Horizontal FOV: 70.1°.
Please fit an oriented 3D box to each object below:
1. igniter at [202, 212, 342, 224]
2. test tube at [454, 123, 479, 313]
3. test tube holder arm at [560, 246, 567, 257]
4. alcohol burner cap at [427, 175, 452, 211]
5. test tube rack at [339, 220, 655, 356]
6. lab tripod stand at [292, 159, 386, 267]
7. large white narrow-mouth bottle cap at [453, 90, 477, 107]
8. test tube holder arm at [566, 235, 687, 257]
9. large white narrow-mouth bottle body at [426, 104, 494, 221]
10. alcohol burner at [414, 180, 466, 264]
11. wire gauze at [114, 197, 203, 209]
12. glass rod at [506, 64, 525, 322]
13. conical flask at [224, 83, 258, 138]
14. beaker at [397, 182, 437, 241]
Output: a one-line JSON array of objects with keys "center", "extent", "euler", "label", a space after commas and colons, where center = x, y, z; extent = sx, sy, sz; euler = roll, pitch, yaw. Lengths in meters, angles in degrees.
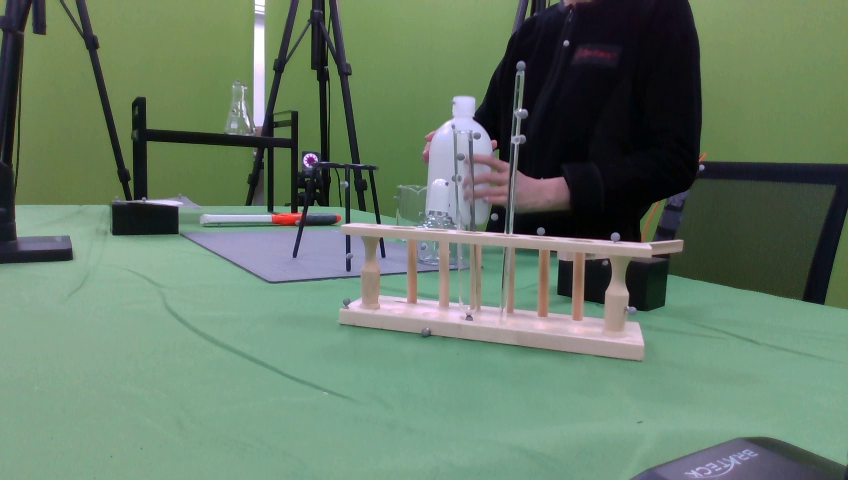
[{"center": [-0.298, -0.044, 1.216], "extent": [0.278, 0.025, 0.057], "euler": [-2, -2, -33], "label": "igniter"}, {"center": [0.034, -0.016, 0.477], "extent": [0.017, 0.150, 0.017], "euler": [-2, 9, 1], "label": "test tube"}, {"center": [0.173, 0.007, 0.611], "extent": [0.088, 0.015, 0.010], "euler": [-3, 9, -30], "label": "test tube holder arm"}, {"center": [0.023, -0.064, 0.822], "extent": [0.034, 0.048, 0.034], "euler": [7, 4, 0], "label": "alcohol burner cap"}, {"center": [0.056, 0.032, 0.495], "extent": [0.242, 0.085, 0.067], "euler": [4, 7, 15], "label": "test tube rack"}, {"center": [-0.105, -0.039, 0.798], "extent": [0.148, 0.131, 0.148], "euler": [2, 5, 0], "label": "lab tripod stand"}, {"center": [0.063, -0.218, 0.934], "extent": [0.038, 0.024, 0.037], "euler": [4, 6, 0], "label": "large white narrow-mouth bottle cap"}, {"center": [0.215, 0.006, 0.630], "extent": [0.179, 0.015, 0.013], "euler": [-3, 9, -31], "label": "test tube holder arm"}, {"center": [0.058, -0.130, 0.944], "extent": [0.102, 0.194, 0.102], "euler": [4, 6, 0], "label": "large white narrow-mouth bottle body"}, {"center": [0.021, -0.028, 0.826], "extent": [0.078, 0.119, 0.078], "euler": [0, 6, 0], "label": "alcohol burner"}, {"center": [-0.447, -0.062, 1.015], "extent": [0.126, 0.011, 0.121], "euler": [-2, 8, -31], "label": "wire gauze"}, {"center": [0.069, -0.030, 0.458], "extent": [0.008, 0.199, 0.008], "euler": [0, 15, 0], "label": "glass rod"}, {"center": [-0.422, -0.299, 1.395], "extent": [0.075, 0.122, 0.075], "euler": [2, 7, 0], "label": "conical flask"}, {"center": [-0.012, -0.050, 1.072], "extent": [0.074, 0.100, 0.084], "euler": [1, 8, -4], "label": "beaker"}]
